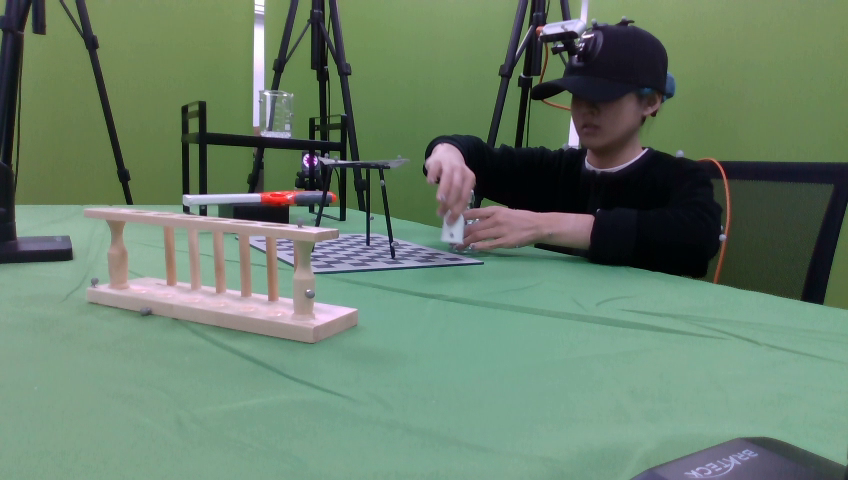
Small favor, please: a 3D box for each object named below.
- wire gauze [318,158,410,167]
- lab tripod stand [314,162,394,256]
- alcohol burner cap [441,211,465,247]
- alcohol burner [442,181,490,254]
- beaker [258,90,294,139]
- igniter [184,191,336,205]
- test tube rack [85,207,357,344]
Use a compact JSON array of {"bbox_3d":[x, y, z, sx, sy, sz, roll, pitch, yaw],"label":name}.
[{"bbox_3d":[-0.090,-0.114,0.888,0.122,0.011,0.124,0,6,-15],"label":"wire gauze"},{"bbox_3d":[-0.098,-0.048,0.897,0.148,0.131,0.148,1,6,0],"label":"lab tripod stand"},{"bbox_3d":[0.041,-0.015,0.822,0.034,0.048,0.034,6,-2,1],"label":"alcohol burner cap"},{"bbox_3d":[0.069,-0.037,0.982,0.078,0.119,0.078,1,9,0],"label":"alcohol burner"},{"bbox_3d":[-0.324,-0.274,1.331,0.083,0.100,0.074,7,9,24],"label":"beaker"},{"bbox_3d":[-0.298,-0.078,1.126,0.278,0.025,0.057,-4,13,-32],"label":"igniter"},{"bbox_3d":[-0.177,0.022,0.518,0.241,0.085,0.067,6,7,23],"label":"test tube rack"}]
